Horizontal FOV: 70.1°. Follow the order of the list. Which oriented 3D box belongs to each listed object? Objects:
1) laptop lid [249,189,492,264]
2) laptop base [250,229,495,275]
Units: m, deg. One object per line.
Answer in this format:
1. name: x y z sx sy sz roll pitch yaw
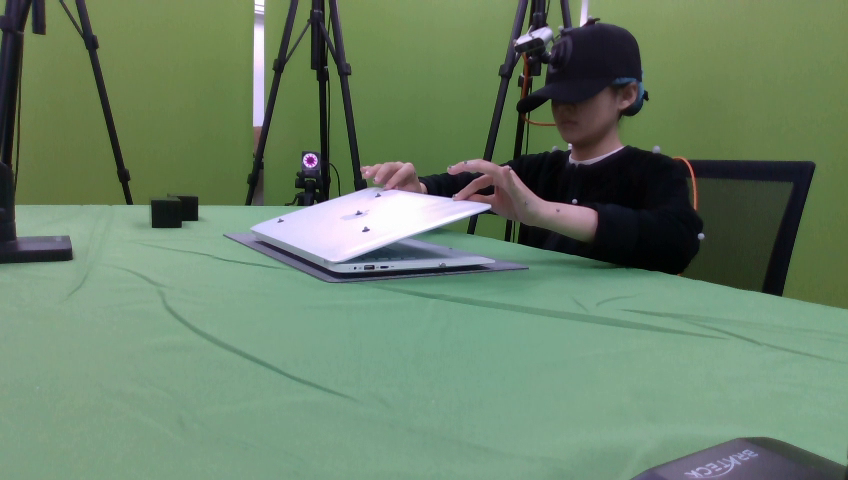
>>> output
1. laptop lid: -0.095 -0.033 0.874 0.243 0.013 0.355 -20 18 -27
2. laptop base: -0.093 0.016 0.884 0.237 0.023 0.352 2 6 -32
